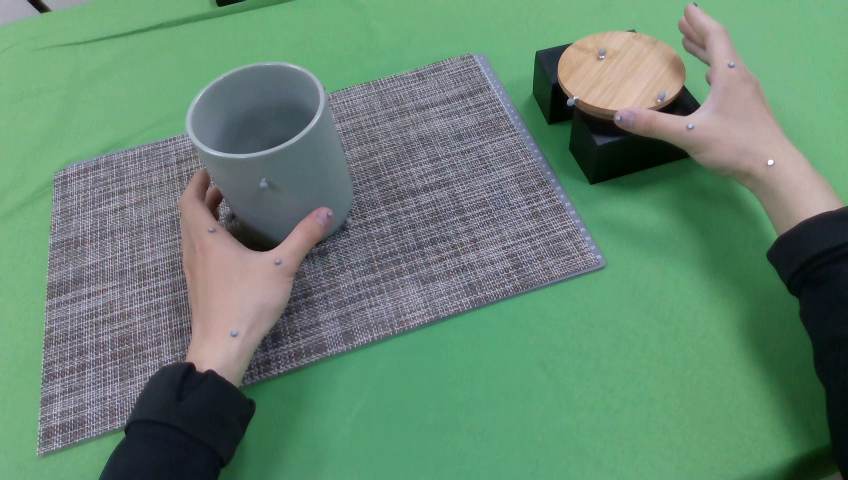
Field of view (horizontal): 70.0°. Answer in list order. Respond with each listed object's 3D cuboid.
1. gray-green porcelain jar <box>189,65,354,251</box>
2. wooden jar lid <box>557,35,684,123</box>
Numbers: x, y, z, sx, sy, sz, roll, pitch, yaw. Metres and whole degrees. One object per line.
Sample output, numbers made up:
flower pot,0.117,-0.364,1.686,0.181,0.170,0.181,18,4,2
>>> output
gray-green porcelain jar,-0.118,-0.060,0.502,0.106,0.128,0.105,-3,53,5
wooden jar lid,0.172,-0.142,0.537,0.108,0.021,0.107,-3,55,4
